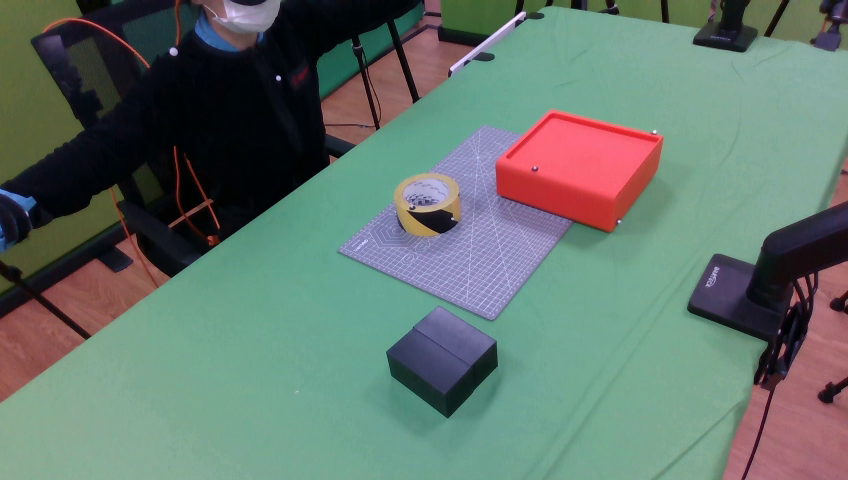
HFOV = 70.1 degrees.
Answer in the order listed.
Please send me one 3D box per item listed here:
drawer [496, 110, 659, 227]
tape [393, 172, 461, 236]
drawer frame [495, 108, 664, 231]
[{"bbox_3d":[0.259,-0.127,1.028,0.210,0.073,0.195,23,48,30],"label":"drawer"},{"bbox_3d":[0.005,-0.061,1.012,0.117,0.053,0.116,-4,40,4],"label":"tape"},{"bbox_3d":[0.262,-0.127,1.028,0.212,0.083,0.202,22,48,29],"label":"drawer frame"}]
